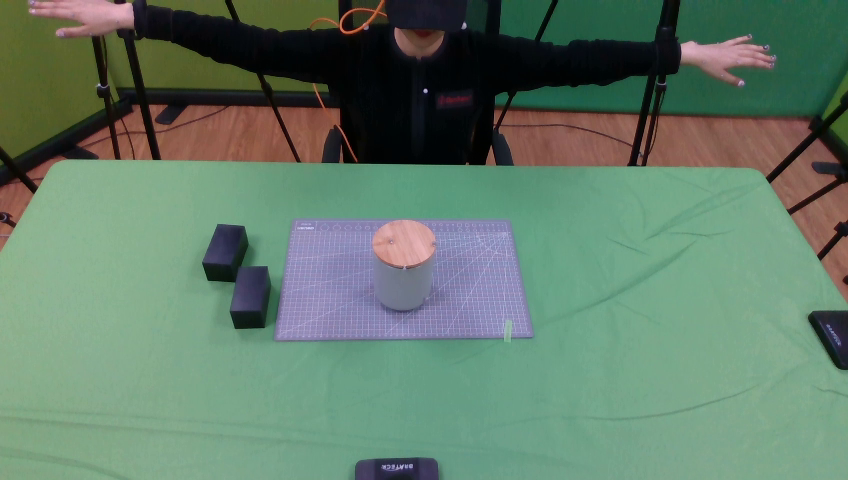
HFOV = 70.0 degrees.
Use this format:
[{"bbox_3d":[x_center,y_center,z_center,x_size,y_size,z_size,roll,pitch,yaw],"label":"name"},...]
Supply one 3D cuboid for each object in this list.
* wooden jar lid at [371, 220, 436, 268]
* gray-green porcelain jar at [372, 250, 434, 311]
[{"bbox_3d":[-0.034,0.009,1.020,0.108,0.021,0.107,2,47,-2],"label":"wooden jar lid"},{"bbox_3d":[-0.037,0.054,1.066,0.106,0.127,0.105,2,46,-2],"label":"gray-green porcelain jar"}]
